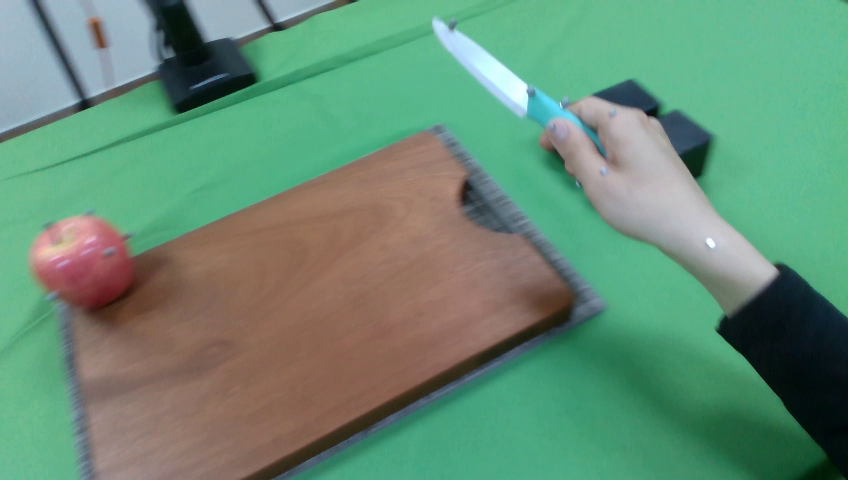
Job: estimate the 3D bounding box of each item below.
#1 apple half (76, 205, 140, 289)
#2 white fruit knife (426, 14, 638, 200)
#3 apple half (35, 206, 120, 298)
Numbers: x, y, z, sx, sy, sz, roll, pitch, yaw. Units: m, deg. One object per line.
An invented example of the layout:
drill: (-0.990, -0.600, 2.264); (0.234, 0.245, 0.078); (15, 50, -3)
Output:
apple half: (-0.278, 0.004, 0.551); (0.033, 0.082, 0.080); (-21, 51, -2)
white fruit knife: (0.080, -0.105, 0.455); (0.207, 0.027, 0.016); (40, 29, 7)
apple half: (-0.315, 0.016, 0.548); (0.053, 0.075, 0.080); (-20, 53, -2)
